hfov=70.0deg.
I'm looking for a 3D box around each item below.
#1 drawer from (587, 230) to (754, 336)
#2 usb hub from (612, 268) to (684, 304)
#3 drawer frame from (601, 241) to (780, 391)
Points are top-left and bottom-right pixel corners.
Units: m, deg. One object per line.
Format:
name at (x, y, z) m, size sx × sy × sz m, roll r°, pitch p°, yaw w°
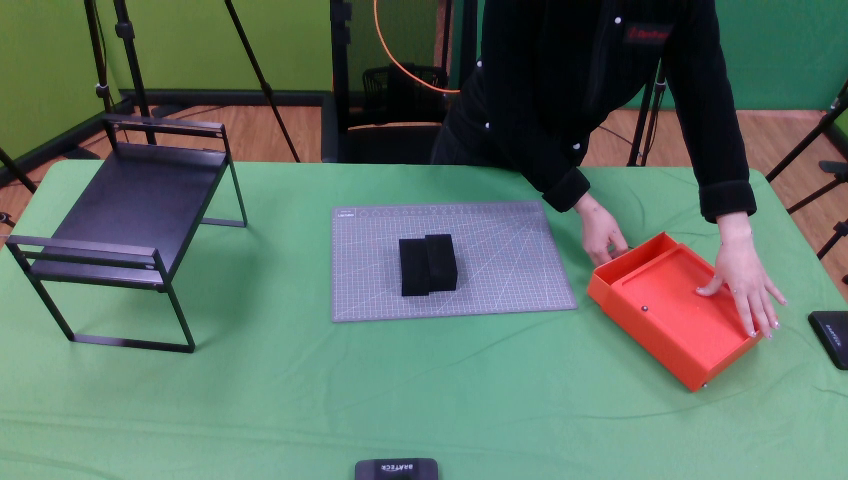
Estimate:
drawer at (0.438, 0.101, 1.088) m, size 0.194 × 0.073 × 0.210 m, roll -24°, pitch 52°, yaw -25°
usb hub at (0.415, 0.086, 1.122) m, size 0.125 × 0.025 × 0.049 m, roll -9°, pitch 46°, yaw -19°
drawer frame at (0.462, 0.124, 1.065) m, size 0.202 × 0.083 × 0.212 m, roll -26°, pitch 54°, yaw -26°
